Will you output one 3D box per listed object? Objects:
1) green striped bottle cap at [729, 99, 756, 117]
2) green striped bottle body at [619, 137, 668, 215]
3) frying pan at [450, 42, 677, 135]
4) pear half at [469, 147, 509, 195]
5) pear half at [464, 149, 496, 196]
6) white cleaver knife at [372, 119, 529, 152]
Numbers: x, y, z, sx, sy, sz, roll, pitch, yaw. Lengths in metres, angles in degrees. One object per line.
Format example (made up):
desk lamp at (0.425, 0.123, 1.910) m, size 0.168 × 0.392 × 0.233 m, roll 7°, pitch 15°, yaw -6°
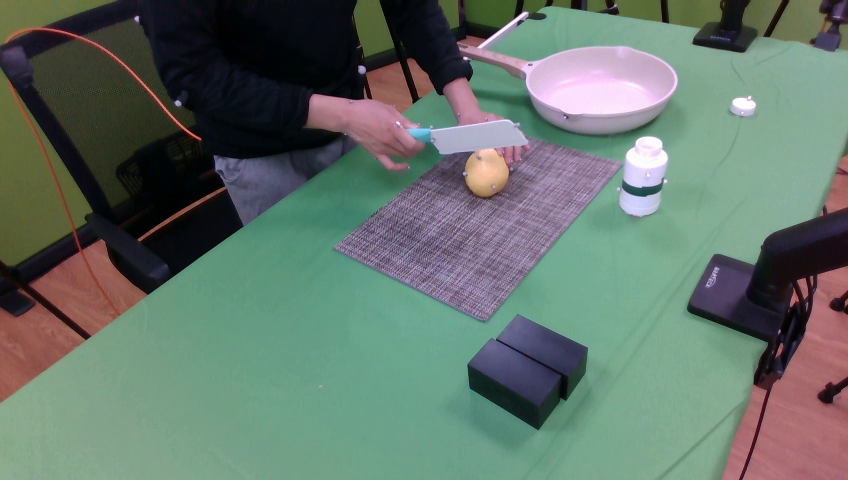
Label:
green striped bottle cap at (0.623, -0.259, 1.182) m, size 0.044 × 0.020 × 0.044 m, roll -3°, pitch 40°, yaw 3°
green striped bottle body at (0.350, -0.103, 0.963) m, size 0.063 × 0.120 × 0.063 m, roll -4°, pitch 41°, yaw 4°
frying pan at (0.268, -0.344, 1.267) m, size 0.485 × 0.103 × 0.307 m, roll 26°, pitch 49°, yaw 21°
pear half at (0.114, -0.136, 1.036) m, size 0.076 × 0.110 × 0.056 m, roll 30°, pitch 52°, yaw 31°
pear half at (0.090, -0.110, 1.025) m, size 0.070 × 0.088 × 0.031 m, roll 30°, pitch 53°, yaw 31°
white cleaver knife at (0.030, -0.158, 0.957) m, size 0.284 × 0.066 × 0.021 m, roll 3°, pitch 60°, yaw 38°
